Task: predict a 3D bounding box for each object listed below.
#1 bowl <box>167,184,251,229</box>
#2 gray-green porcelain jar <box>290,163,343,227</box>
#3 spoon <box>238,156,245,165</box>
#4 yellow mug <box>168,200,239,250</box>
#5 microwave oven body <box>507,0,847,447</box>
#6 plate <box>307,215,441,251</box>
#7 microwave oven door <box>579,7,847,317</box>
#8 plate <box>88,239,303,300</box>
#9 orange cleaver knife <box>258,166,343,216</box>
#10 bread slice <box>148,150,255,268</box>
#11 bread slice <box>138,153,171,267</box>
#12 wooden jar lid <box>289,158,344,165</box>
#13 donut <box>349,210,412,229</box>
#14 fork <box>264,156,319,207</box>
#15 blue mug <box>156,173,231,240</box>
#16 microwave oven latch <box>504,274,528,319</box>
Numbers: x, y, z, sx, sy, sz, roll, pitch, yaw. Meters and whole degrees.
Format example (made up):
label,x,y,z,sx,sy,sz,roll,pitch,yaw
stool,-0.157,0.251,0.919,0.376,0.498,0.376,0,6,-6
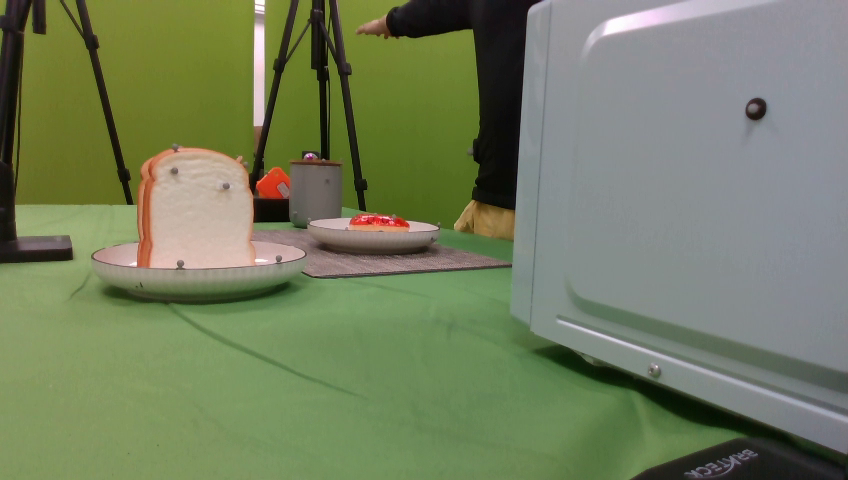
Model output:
label,x,y,z,sx,sy,sz,roll,pitch,yaw
bowl,-0.408,-0.064,1.155,0.151,0.077,0.151,2,8,0
gray-green porcelain jar,-0.217,-0.091,1.221,0.106,0.126,0.106,2,7,0
spoon,-0.477,-0.145,1.492,0.041,0.022,0.193,0,51,13
yellow mug,-0.319,-0.023,0.904,0.130,0.064,0.100,9,11,36
microwave oven body,0.331,-0.042,0.425,0.444,0.260,0.324,-2,8,-31
plate,-0.078,-0.011,0.954,0.209,0.038,0.209,2,7,0
microwave oven door,0.294,-0.067,0.570,0.358,0.243,0.039,-3,9,-31
plate,-0.233,0.029,0.636,0.208,0.039,0.207,2,7,0
orange cleaver knife,-0.276,-0.090,1.369,0.212,0.077,0.012,33,-11,-34
bread slice,-0.230,-0.024,0.618,0.107,0.134,0.018,-8,10,-34
bread slice,-0.256,-0.029,0.660,0.105,0.131,0.019,-1,0,-36
wooden jar lid,-0.215,-0.153,1.212,0.108,0.020,0.108,2,5,0
donut,-0.069,-0.023,0.961,0.099,0.048,0.099,3,5,0
fork,-0.331,-0.144,1.506,0.207,0.018,0.028,-42,-21,22
blue mug,-0.381,-0.057,1.004,0.117,0.106,0.082,0,8,-12
microwave oven latch,0.100,0.041,0.471,0.079,0.029,0.030,-1,7,-27
